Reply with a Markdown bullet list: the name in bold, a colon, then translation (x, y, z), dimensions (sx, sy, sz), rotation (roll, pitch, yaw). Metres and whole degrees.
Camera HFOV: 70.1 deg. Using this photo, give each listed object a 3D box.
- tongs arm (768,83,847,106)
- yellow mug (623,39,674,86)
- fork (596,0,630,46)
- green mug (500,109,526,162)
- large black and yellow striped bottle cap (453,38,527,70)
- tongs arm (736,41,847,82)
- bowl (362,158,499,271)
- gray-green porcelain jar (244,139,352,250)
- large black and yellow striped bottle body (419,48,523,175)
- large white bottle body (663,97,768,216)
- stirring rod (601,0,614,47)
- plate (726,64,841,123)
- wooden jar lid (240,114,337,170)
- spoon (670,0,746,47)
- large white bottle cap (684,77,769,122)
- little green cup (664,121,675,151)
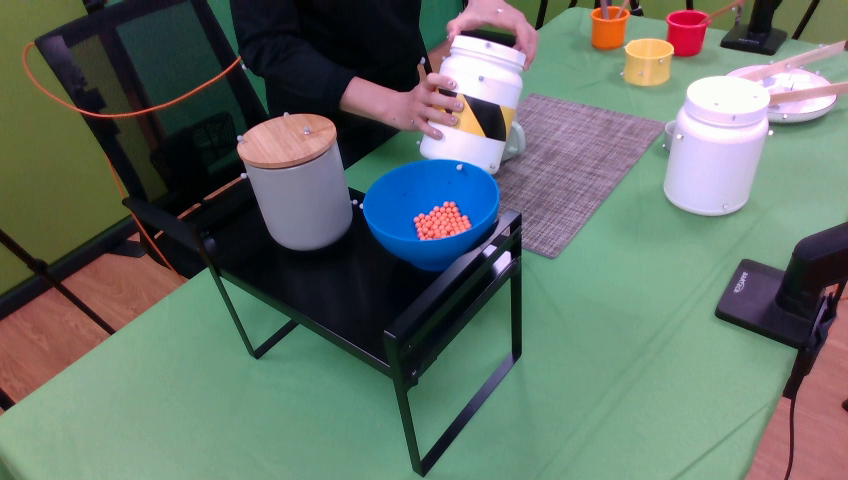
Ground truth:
- **tongs arm**: translation (0.738, -0.281, 1.134), dimensions (0.388, 0.028, 0.028), rotation (-9, 47, -5)
- **yellow mug**: translation (0.485, -0.398, 1.334), dimensions (0.100, 0.064, 0.130), rotation (-18, 41, -11)
- **fork**: translation (0.481, -0.556, 1.453), dimensions (0.028, 0.019, 0.207), rotation (40, 103, 38)
- **green mug**: translation (0.144, -0.202, 1.122), dimensions (0.093, 0.105, 0.124), rotation (-29, 45, -23)
- **large black and yellow striped bottle cap**: translation (0.101, -0.284, 0.923), dimensions (0.115, 0.019, 0.115), rotation (15, 13, -3)
- **tongs arm**: translation (0.712, -0.332, 1.194), dimensions (0.386, 0.026, 0.050), rotation (-19, 45, -16)
- **bowl**: translation (0.011, -0.019, 0.679), dimensions (0.151, 0.077, 0.150), rotation (-5, 41, 5)
- **gray-green porcelain jar**: translation (-0.144, -0.060, 0.714), dimensions (0.106, 0.127, 0.105), rotation (-4, 41, 4)
- **large black and yellow striped bottle body**: translation (0.077, -0.205, 0.941), dimensions (0.131, 0.184, 0.130), rotation (16, 12, -3)
- **large white bottle body**: translation (0.458, -0.146, 0.952), dimensions (0.130, 0.185, 0.130), rotation (-4, 40, 4)
- **stirring rod**: translation (0.439, -0.552, 1.463), dimensions (0.014, 0.006, 0.175), rotation (-7, 83, 3)
- **plate**: translation (0.695, -0.282, 1.189), dimensions (0.207, 0.039, 0.206), rotation (-4, 40, 4)
- **wooden jar lid**: translation (-0.149, -0.106, 0.673), dimensions (0.108, 0.021, 0.108), rotation (-6, 38, 5)
- **spoon**: translation (0.629, -0.485, 1.350), dimensions (0.022, 0.193, 0.042), rotation (47, 54, -7)
- **large white bottle cap**: translation (0.448, -0.210, 0.898), dimensions (0.115, 0.018, 0.114), rotation (-4, 40, 4)
- **little green cup**: translation (0.472, -0.188, 1.113), dimensions (0.061, 0.039, 0.061), rotation (-5, 40, 5)
